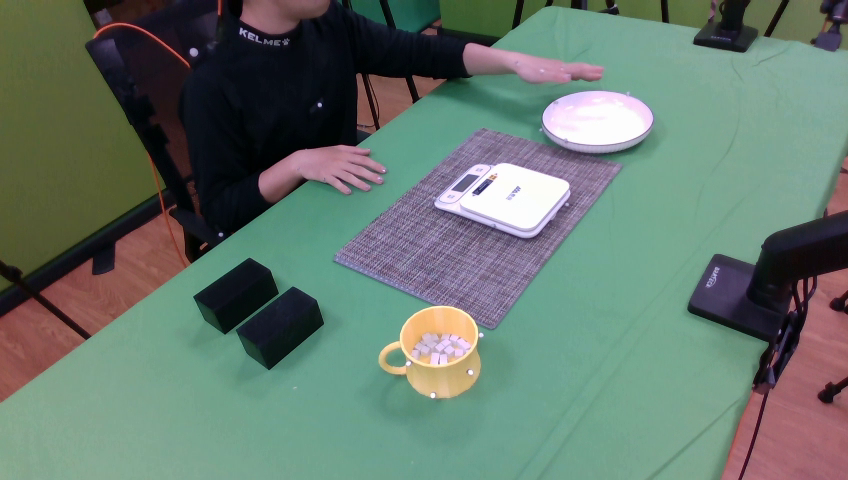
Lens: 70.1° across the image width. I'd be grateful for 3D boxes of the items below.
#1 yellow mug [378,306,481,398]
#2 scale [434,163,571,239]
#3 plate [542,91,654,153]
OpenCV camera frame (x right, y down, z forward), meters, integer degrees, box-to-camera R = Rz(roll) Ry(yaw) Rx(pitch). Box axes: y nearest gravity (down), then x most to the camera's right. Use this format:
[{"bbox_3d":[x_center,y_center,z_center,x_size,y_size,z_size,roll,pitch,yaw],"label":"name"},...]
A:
[{"bbox_3d":[0.006,0.144,0.766,0.131,0.064,0.099,-10,40,-2],"label":"yellow mug"},{"bbox_3d":[0.132,-0.075,1.025,0.199,0.032,0.149,22,48,30],"label":"scale"},{"bbox_3d":[0.334,-0.224,1.171,0.209,0.038,0.208,-4,40,4],"label":"plate"}]
